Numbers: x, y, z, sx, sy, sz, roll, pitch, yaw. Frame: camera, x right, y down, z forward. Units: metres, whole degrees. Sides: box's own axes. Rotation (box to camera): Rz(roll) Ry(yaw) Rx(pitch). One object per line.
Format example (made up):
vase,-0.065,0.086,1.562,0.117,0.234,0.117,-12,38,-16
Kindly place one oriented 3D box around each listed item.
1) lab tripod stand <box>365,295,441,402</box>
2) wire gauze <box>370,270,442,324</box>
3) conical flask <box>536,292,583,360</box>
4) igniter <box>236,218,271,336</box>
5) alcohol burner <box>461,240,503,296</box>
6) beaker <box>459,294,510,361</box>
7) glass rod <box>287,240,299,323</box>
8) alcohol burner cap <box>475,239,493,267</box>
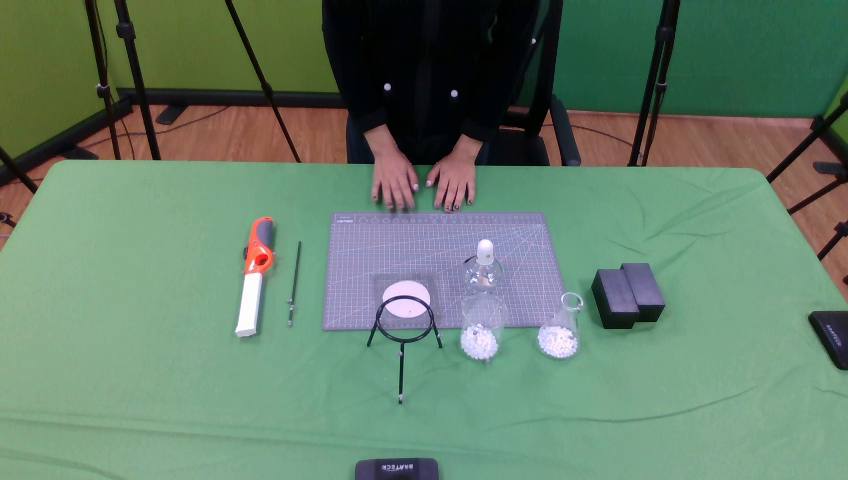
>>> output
lab tripod stand,-0.031,0.160,0.966,0.148,0.132,0.147,3,44,-2
wire gauze,-0.035,0.104,1.103,0.125,0.011,0.120,-3,46,-5
conical flask,0.234,0.139,1.015,0.075,0.122,0.075,2,46,-2
igniter,-0.312,0.058,1.115,0.057,0.025,0.274,-9,46,2
alcohol burner,0.107,0.045,1.098,0.078,0.120,0.077,1,44,-1
beaker,0.095,0.147,1.012,0.083,0.101,0.074,26,49,21
glass rod,-0.242,0.072,1.119,0.008,0.008,0.198,-1,47,-5
alcohol burner cap,0.107,0.020,1.072,0.034,0.048,0.033,-2,46,2
